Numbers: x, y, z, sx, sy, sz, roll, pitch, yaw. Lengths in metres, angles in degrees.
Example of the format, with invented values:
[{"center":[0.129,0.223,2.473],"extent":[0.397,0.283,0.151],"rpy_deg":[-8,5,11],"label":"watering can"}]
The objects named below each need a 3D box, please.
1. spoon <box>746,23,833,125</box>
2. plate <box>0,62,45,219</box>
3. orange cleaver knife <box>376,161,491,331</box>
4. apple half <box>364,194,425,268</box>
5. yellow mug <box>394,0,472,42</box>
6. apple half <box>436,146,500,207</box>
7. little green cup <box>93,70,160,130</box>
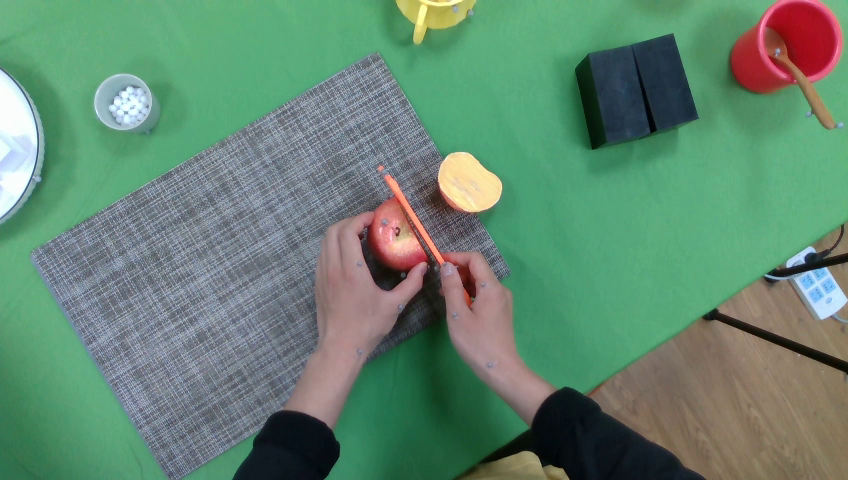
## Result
[{"center":[0.399,-0.186,0.661],"extent":[0.041,0.022,0.192],"rpy_deg":[3,44,-2],"label":"spoon"},{"center":[-0.514,-0.106,0.655],"extent":[0.208,0.039,0.207],"rpy_deg":[0,89,-4],"label":"plate"},{"center":[0.009,0.007,0.651],"extent":[0.012,0.077,0.212],"rpy_deg":[-33,103,-1],"label":"orange cleaver knife"},{"center":[-0.038,-0.004,0.662],"extent":[0.053,0.074,0.081],"rpy_deg":[-27,95,0],"label":"apple half"},{"center":[0.007,-0.286,0.677],"extent":[0.100,0.064,0.130],"rpy_deg":[17,89,-3],"label":"yellow mug"},{"center":[0.042,-0.064,0.684],"extent":[0.082,0.033,0.080],"rpy_deg":[11,58,-17],"label":"apple half"},{"center":[-0.325,-0.151,0.668],"extent":[0.061,0.038,0.061],"rpy_deg":[0,89,-3],"label":"little green cup"}]
